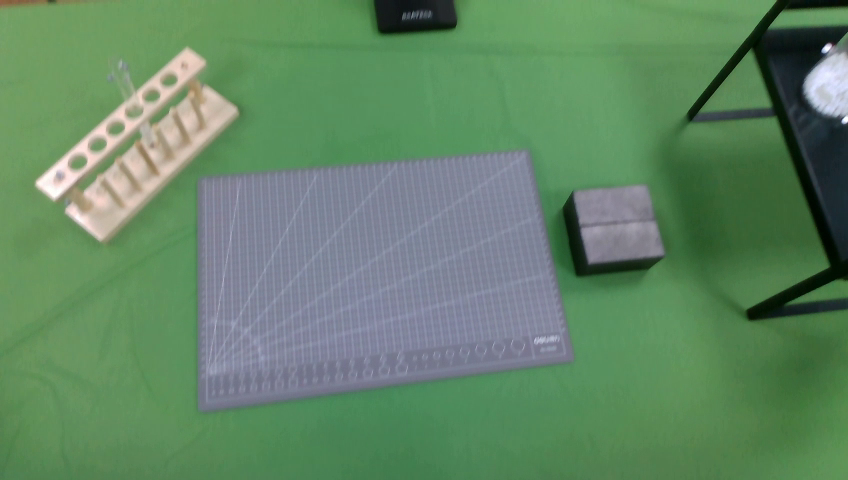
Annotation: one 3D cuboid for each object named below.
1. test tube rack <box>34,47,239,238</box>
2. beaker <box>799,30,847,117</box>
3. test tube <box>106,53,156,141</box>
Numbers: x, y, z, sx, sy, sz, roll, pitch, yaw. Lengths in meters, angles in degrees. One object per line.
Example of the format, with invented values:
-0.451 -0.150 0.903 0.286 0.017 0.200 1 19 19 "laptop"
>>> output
-0.351 -0.124 0.765 0.066 0.085 0.242 36 70 10 "test tube rack"
0.467 -0.189 0.658 0.083 0.101 0.074 42 71 12 "beaker"
-0.349 -0.167 0.728 0.017 0.151 0.017 3 63 -6 "test tube"
